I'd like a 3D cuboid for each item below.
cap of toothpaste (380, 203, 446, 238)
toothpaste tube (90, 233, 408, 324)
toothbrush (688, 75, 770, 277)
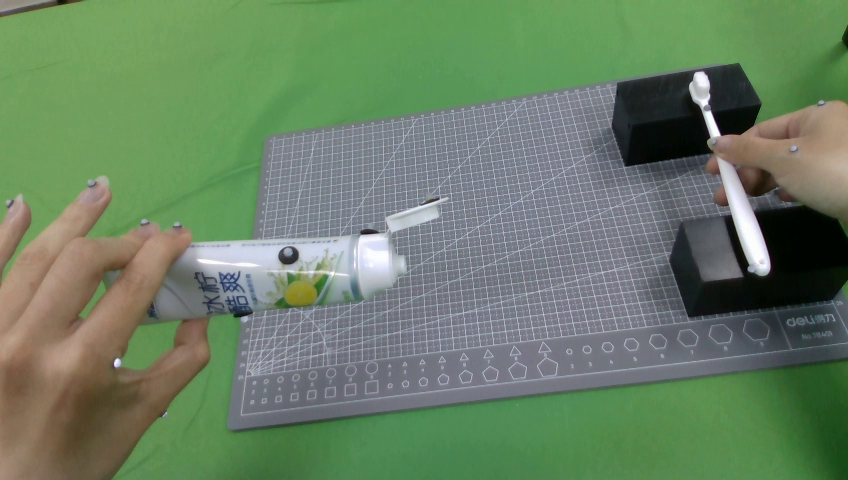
[{"bbox_3d":[-0.004,-0.010,0.313,0.037,0.037,0.011,-21,93,-4],"label":"cap of toothpaste"},{"bbox_3d":[-0.090,0.018,0.322,0.165,0.055,0.034,-6,28,5],"label":"toothpaste tube"},{"bbox_3d":[0.216,-0.053,0.433,0.014,0.017,0.180,-3,56,6],"label":"toothbrush"}]
